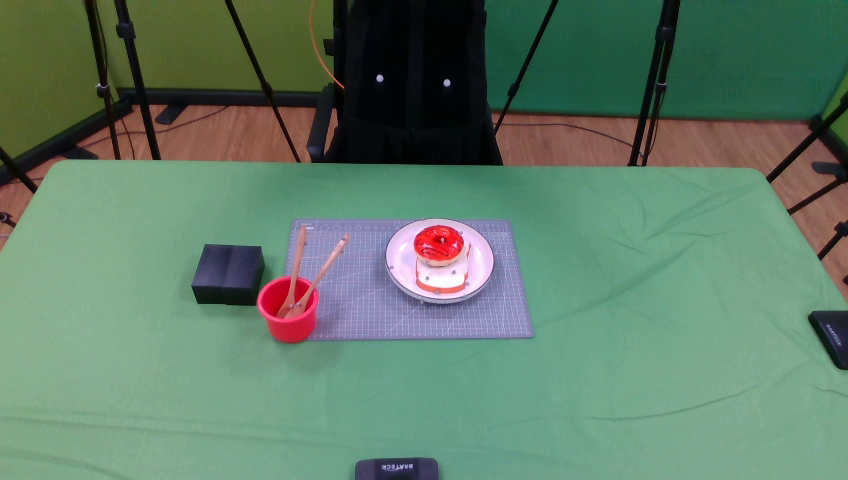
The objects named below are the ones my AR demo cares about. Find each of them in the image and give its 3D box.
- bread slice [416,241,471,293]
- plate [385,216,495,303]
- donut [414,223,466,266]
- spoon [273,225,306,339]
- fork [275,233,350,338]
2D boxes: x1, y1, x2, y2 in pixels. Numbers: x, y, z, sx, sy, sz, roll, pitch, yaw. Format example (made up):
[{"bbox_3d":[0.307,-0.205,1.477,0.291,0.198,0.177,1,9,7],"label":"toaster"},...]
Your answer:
[{"bbox_3d":[0.037,0.046,1.144,0.105,0.019,0.131,4,45,2],"label":"bread slice"},{"bbox_3d":[0.030,0.040,1.145,0.209,0.038,0.208,2,46,-2],"label":"plate"},{"bbox_3d":[0.030,0.007,1.140,0.099,0.048,0.098,0,42,0],"label":"donut"},{"bbox_3d":[-0.220,0.070,1.026,0.041,0.021,0.193,10,91,-1],"label":"spoon"},{"bbox_3d":[-0.184,0.075,1.014,0.028,0.018,0.207,35,95,13],"label":"fork"}]
